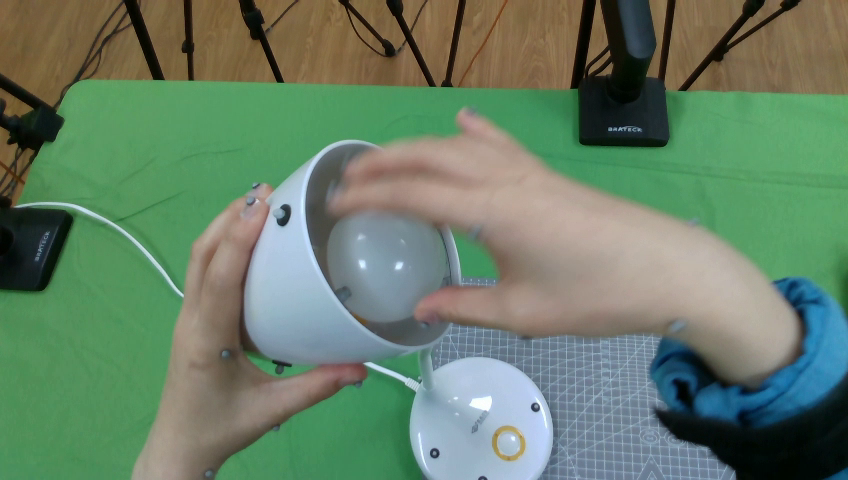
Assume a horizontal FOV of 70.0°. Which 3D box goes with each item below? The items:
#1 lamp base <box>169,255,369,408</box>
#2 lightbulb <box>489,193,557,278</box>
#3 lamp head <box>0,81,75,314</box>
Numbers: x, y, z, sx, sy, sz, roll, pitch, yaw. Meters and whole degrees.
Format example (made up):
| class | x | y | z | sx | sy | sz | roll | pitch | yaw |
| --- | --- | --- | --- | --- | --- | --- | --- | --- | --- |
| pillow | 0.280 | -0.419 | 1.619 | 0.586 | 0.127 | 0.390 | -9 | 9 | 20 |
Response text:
| class | x | y | z | sx | sy | sz | roll | pitch | yaw |
| --- | --- | --- | --- | --- | --- | --- | --- | --- | --- |
| lamp base | -0.149 | 0.075 | 0.561 | 0.179 | 0.181 | 0.160 | 7 | 77 | 2 |
| lightbulb | 0.102 | -0.008 | 0.658 | 0.059 | 0.060 | 0.106 | -24 | 64 | -7 |
| lamp head | -0.216 | -0.005 | 0.243 | 0.113 | 0.122 | 0.111 | 19 | 62 | -39 |
